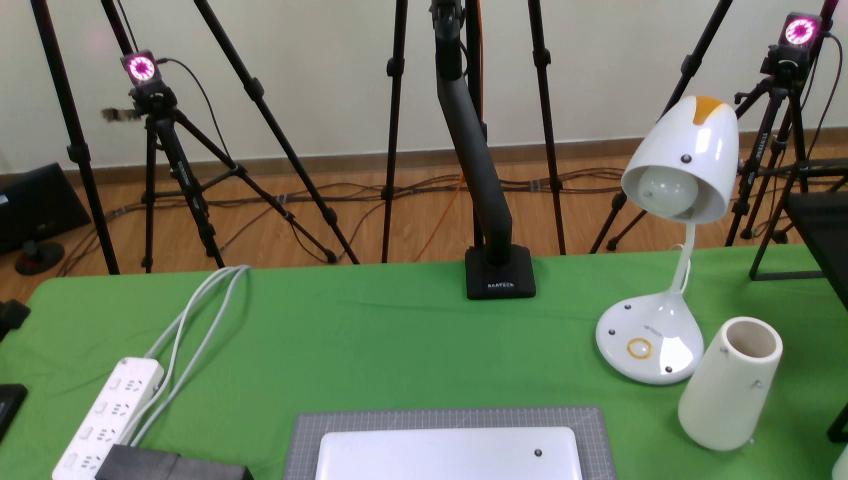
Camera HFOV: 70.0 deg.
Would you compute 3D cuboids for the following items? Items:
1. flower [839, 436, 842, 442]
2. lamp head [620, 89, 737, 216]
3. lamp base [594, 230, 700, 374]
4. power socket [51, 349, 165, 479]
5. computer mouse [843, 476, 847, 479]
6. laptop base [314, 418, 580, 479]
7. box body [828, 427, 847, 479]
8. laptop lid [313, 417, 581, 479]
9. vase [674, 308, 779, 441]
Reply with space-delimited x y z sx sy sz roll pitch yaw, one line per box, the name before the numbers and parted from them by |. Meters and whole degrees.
flower | 0.555 0.382 0.646 0.038 0.044 0.358 -37 44 32
lamp head | 0.289 -0.101 0.665 0.111 0.113 0.122 21 68 25
lamp base | 0.350 0.080 0.905 0.159 0.182 0.179 24 49 26
power socket | -0.465 0.257 0.904 0.072 0.033 0.225 4 44 8
computer mouse | 0.560 0.328 0.722 0.063 0.041 0.116 -8 36 4
laptop base | 0.028 0.343 0.780 0.354 0.023 0.233 -2 48 3
box body | 0.628 0.346 0.617 0.254 0.162 0.360 -2 44 4
laptop lid | 0.027 0.337 0.770 0.356 0.013 0.239 -1 46 4
vase | 0.391 0.176 0.788 0.098 0.202 0.097 -4 43 4
